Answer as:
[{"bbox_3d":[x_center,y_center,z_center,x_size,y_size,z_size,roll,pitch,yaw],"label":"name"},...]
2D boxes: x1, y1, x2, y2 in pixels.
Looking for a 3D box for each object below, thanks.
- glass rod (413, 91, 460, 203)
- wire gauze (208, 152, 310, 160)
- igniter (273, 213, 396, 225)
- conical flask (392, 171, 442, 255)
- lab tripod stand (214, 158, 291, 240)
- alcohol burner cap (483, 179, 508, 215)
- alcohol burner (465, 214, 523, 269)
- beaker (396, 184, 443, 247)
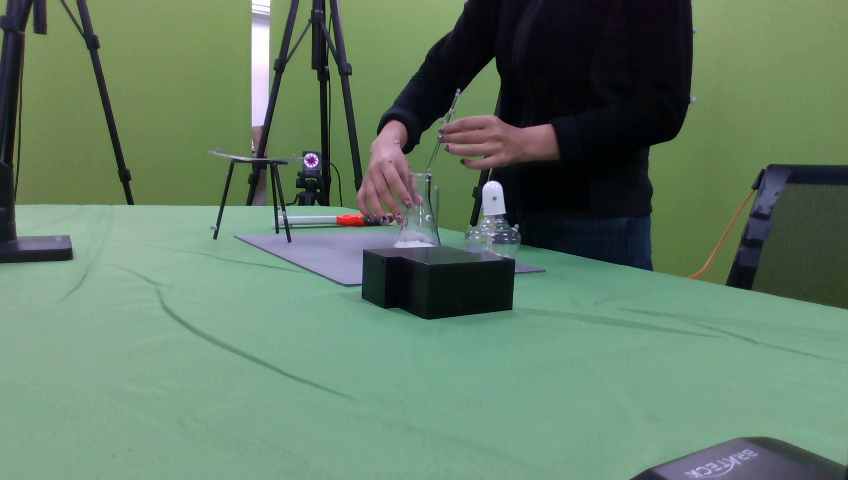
[{"bbox_3d":[0.019,-0.147,0.982,0.008,0.199,0.008,19,23,-8],"label":"glass rod"},{"bbox_3d":[-0.270,-0.135,0.993,0.124,0.011,0.122,9,8,41],"label":"wire gauze"},{"bbox_3d":[-0.178,-0.044,1.258,0.278,0.025,0.057,-3,-2,-39],"label":"igniter"},{"bbox_3d":[-0.008,-0.041,0.902,0.075,0.122,0.075,2,7,0],"label":"conical flask"},{"bbox_3d":[-0.268,-0.068,1.002,0.148,0.131,0.148,3,6,0],"label":"lab tripod stand"},{"bbox_3d":[0.094,-0.057,0.810,0.034,0.048,0.034,-8,6,1],"label":"alcohol burner cap"},{"bbox_3d":[0.094,-0.022,0.815,0.078,0.119,0.078,0,7,0],"label":"alcohol burner"},{"bbox_3d":[-0.012,-0.043,1.004,0.083,0.100,0.074,8,9,38],"label":"beaker"}]
